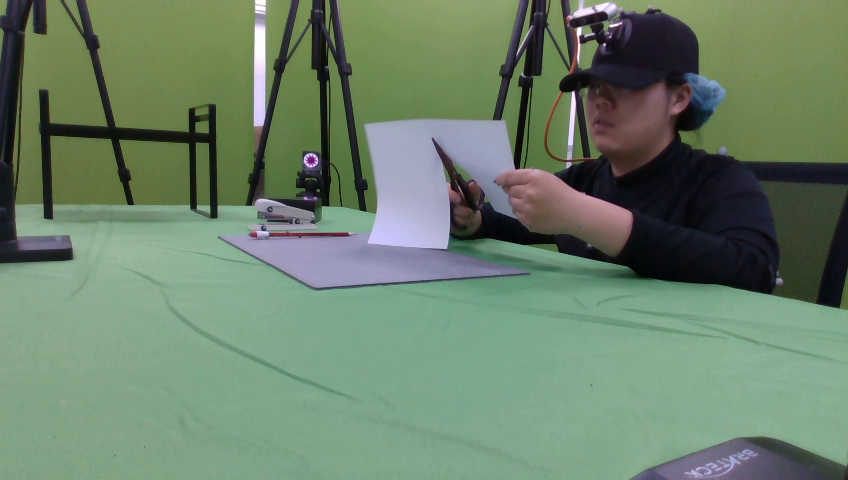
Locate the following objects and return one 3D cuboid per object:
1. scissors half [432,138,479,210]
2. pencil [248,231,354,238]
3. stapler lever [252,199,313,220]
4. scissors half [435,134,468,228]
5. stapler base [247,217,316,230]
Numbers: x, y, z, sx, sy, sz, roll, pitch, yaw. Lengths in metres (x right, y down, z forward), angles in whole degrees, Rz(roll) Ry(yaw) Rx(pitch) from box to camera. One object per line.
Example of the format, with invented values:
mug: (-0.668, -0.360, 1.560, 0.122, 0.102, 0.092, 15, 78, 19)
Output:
scissors half: (0.051, -0.106, 0.970, 0.012, 0.040, 0.176, 13, -22, 37)
pencil: (-0.206, -0.009, 1.039, 0.195, 0.012, 0.012, 0, 8, -36)
stapler lever: (-0.273, -0.058, 1.170, 0.119, 0.040, 0.026, 0, 10, -37)
scissors half: (0.041, -0.090, 0.959, 0.013, 0.175, 0.040, 8, 40, 34)
stapler base: (-0.276, -0.033, 1.172, 0.131, 0.024, 0.041, 0, 10, -37)
